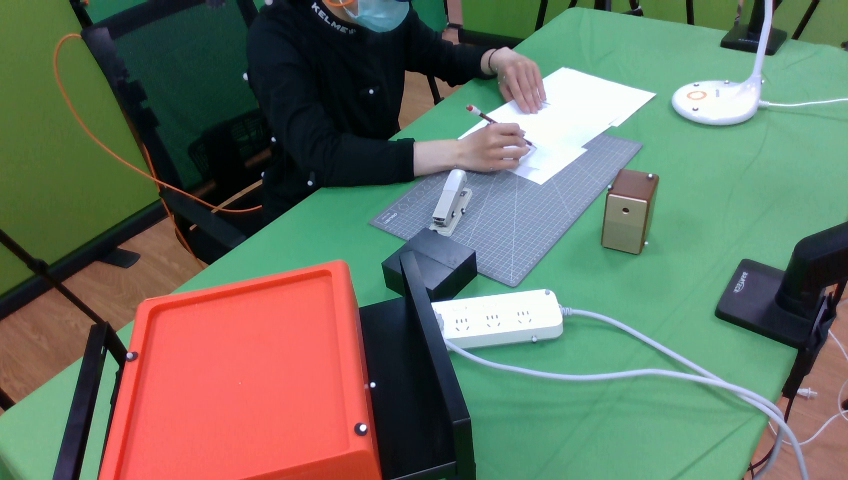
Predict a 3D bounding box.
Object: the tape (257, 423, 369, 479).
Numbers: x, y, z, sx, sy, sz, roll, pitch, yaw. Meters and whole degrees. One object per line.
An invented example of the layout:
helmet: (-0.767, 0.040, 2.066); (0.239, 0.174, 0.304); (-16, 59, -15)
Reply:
tape: (-0.121, 0.262, 0.660); (0.117, 0.053, 0.116); (-4, 40, 4)

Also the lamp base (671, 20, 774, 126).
lamp base: (0.581, -0.332, 1.154); (0.179, 0.181, 0.160); (2, 41, 7)

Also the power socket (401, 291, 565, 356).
power socket: (0.080, 0.112, 0.822); (0.227, 0.033, 0.072); (-6, 41, 0)

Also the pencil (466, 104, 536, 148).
pencil: (0.144, -0.204, 1.097); (0.196, 0.012, 0.012); (20, 22, -40)

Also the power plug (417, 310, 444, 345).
power plug: (0.006, 0.122, 0.785); (0.035, 0.053, 0.072); (0, 40, 9)

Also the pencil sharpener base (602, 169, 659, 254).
pencil sharpener base: (0.312, -0.044, 0.914); (0.061, 0.107, 0.077); (14, 45, 24)

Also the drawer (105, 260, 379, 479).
drawer: (-0.150, 0.127, 0.525); (0.195, 0.073, 0.210); (-11, 41, -5)

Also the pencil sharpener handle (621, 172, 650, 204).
pencil sharpener handle: (0.328, -0.086, 0.941); (0.036, 0.068, 0.030); (30, 49, 7)

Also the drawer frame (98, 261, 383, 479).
drawer frame: (-0.148, 0.129, 0.520); (0.202, 0.083, 0.212); (-12, 41, -6)

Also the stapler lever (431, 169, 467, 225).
stapler lever: (0.043, -0.075, 1.010); (0.026, 0.040, 0.118); (9, 44, 20)

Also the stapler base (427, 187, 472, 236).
stapler base: (0.046, -0.057, 1.028); (0.041, 0.024, 0.130); (9, 44, 20)
